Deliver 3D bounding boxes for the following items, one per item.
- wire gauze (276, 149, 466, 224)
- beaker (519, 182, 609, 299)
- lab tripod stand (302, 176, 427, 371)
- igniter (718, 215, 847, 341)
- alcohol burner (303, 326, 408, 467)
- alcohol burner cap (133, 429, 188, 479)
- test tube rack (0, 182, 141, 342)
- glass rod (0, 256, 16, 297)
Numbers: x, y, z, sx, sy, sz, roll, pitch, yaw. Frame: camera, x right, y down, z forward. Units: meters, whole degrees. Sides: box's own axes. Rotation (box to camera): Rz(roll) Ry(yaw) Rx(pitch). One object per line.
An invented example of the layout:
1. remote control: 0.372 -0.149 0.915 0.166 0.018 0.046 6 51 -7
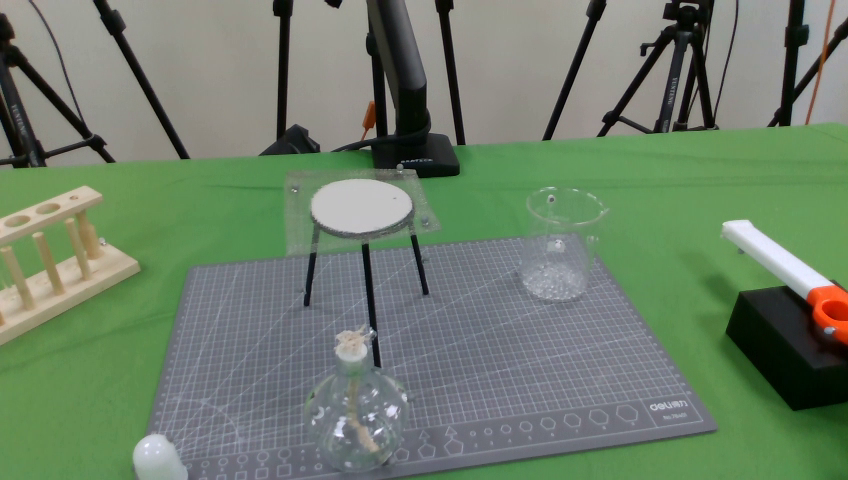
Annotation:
1. wire gauze: -0.046 -0.045 0.498 0.125 0.011 0.120 -11 32 -30
2. beaker: 0.137 0.002 0.611 0.084 0.101 0.073 -1 35 -2
3. lab tripod stand: -0.051 0.022 0.548 0.148 0.132 0.147 2 35 -1
4. igniter: 0.353 0.050 0.531 0.057 0.025 0.273 -6 31 -9
5. alcohol burner: -0.050 0.108 0.440 0.078 0.120 0.077 2 34 -1
6. alcohol burner cap: -0.190 0.155 0.432 0.034 0.048 0.033 2 34 -1
7. test tube rack: -0.403 0.038 0.567 0.066 0.086 0.242 23 40 29
8. glass rod: -0.399 -0.024 0.540 0.008 0.201 0.008 4 36 -3
